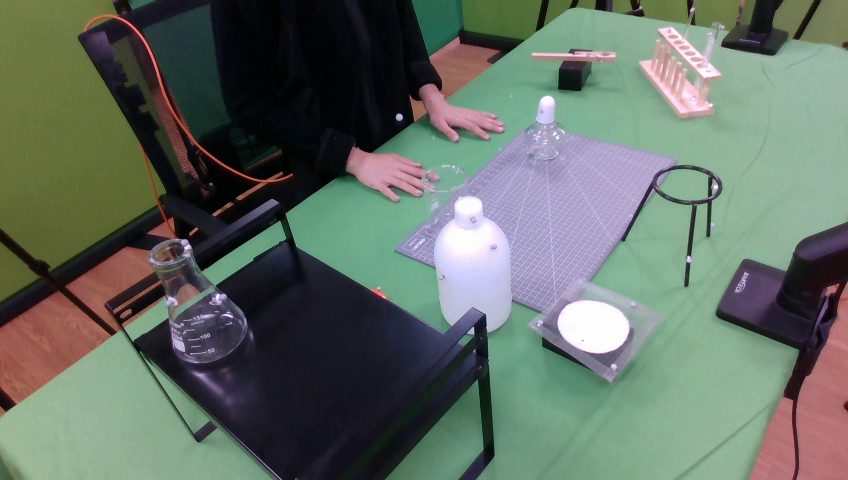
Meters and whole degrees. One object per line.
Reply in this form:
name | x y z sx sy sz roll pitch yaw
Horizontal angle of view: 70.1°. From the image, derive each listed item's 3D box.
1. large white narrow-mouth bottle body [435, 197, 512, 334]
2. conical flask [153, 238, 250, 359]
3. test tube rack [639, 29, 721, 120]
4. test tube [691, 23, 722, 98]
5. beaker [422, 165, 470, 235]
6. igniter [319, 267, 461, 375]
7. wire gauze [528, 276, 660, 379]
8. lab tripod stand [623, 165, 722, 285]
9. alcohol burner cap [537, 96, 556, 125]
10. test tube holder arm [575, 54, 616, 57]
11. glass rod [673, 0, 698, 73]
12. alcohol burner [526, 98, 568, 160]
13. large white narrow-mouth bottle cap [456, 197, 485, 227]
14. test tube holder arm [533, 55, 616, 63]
large white narrow-mouth bottle body | 0.066 0.028 0.805 0.102 0.195 0.101 -4 40 4
conical flask | -0.225 0.055 0.597 0.075 0.122 0.075 -5 41 4
test tube rack | 0.527 -0.351 1.262 0.067 0.085 0.241 -8 40 1
test tube | 0.547 -0.345 1.173 0.017 0.151 0.017 0 42 1
beaker | 0.041 -0.063 0.986 0.073 0.101 0.084 20 47 29
igniter | -0.060 0.108 0.862 0.274 0.025 0.057 29 62 35
wire gauze | 0.214 0.103 0.763 0.124 0.011 0.122 30 52 35
lab tripod stand | 0.365 -0.030 0.875 0.148 0.132 0.147 -6 41 6
alcohol burner cap | 0.223 -0.237 1.095 0.034 0.048 0.033 -1 42 1
test tube holder arm | 0.373 -0.398 1.318 0.087 0.015 0.010 5 51 15
glass rod | 0.537 -0.425 1.244 0.008 0.200 0.008 0 47 0
alcohol burner | 0.228 -0.210 1.118 0.078 0.119 0.077 -5 43 5
large white narrow-mouth bottle cap | 0.058 -0.035 0.750 0.038 0.024 0.037 -4 40 4
test tube holder arm | 0.329 -0.398 1.327 0.178 0.015 0.013 5 51 15
